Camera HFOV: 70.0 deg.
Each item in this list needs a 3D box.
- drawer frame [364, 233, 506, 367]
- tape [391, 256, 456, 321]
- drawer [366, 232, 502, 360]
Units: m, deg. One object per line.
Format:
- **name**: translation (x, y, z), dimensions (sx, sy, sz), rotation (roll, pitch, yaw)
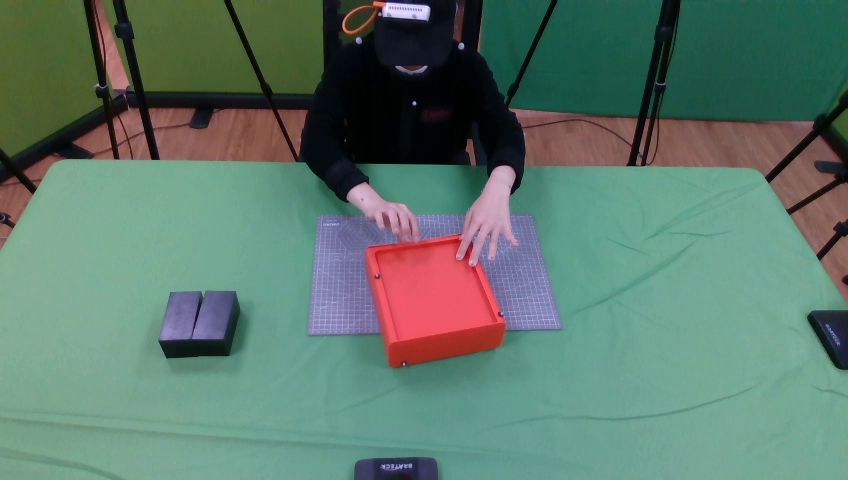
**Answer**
- **drawer frame**: translation (0.013, 0.098, 1.058), dimensions (0.202, 0.083, 0.212), rotation (-9, 48, -13)
- **tape**: translation (0.001, 0.086, 1.077), dimensions (0.117, 0.053, 0.116), rotation (2, 45, -2)
- **drawer**: translation (0.012, 0.093, 1.064), dimensions (0.195, 0.073, 0.210), rotation (-7, 48, -12)
